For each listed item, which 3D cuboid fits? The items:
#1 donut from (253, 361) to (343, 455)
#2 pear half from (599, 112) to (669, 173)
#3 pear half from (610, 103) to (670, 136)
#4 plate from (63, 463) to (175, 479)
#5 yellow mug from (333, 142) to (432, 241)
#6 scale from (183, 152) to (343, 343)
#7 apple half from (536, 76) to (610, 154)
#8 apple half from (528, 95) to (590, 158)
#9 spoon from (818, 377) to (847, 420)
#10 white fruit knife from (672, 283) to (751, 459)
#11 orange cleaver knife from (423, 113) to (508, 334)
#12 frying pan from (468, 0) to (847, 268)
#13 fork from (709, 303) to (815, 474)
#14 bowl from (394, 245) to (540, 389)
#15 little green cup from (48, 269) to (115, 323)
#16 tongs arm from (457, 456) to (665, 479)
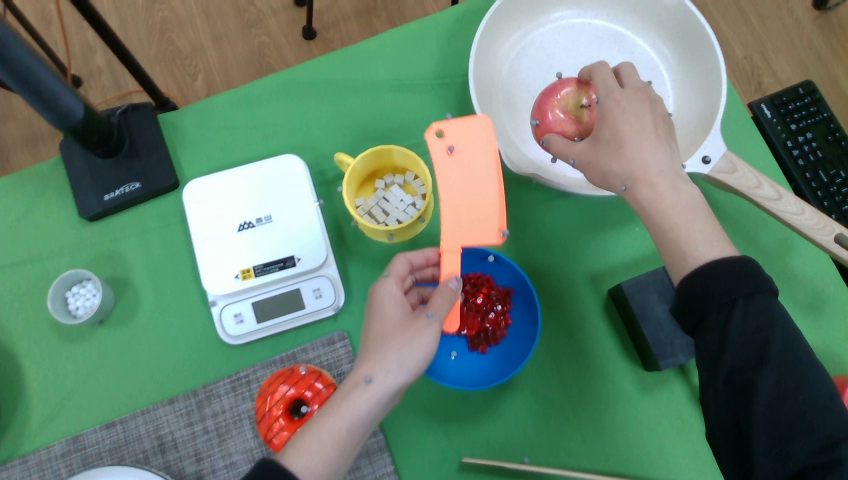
[{"bbox_3d":[-0.136,0.180,0.653,0.099,0.048,0.098,-1,79,3],"label":"donut"},{"bbox_3d":[0.236,-0.109,0.678,0.076,0.110,0.056,14,78,8],"label":"pear half"},{"bbox_3d":[0.248,-0.139,0.695,0.070,0.088,0.031,13,79,7],"label":"pear half"},{"bbox_3d":[-0.318,0.336,0.623,0.209,0.038,0.208,0,78,1],"label":"plate"},{"bbox_3d":[-0.054,-0.063,0.699,0.130,0.064,0.100,35,81,9],"label":"yellow mug"},{"bbox_3d":[-0.187,0.006,0.703,0.149,0.032,0.200,-17,78,-2],"label":"scale"},{"bbox_3d":[0.156,-0.133,0.619,0.053,0.075,0.080,-44,82,-7],"label":"apple half"},{"bbox_3d":[0.129,-0.106,0.615,0.033,0.081,0.081,-44,80,-7],"label":"apple half"},{"bbox_3d":[0.474,0.204,0.592,0.041,0.022,0.191,-26,34,-6],"label":"spoon"},{"bbox_3d":[0.303,0.141,0.641,0.016,0.027,0.207,-23,93,-4],"label":"white fruit knife"},{"bbox_3d":[0.039,-0.020,0.555,0.077,0.012,0.210,1,76,-8],"label":"orange cleaver knife"},{"bbox_3d":[0.272,-0.123,0.688,0.485,0.103,0.306,40,82,17],"label":"frying pan"},{"bbox_3d":[0.363,0.159,0.644,0.028,0.018,0.207,-30,94,-9],"label":"fork"},{"bbox_3d":[0.045,0.085,0.659,0.151,0.077,0.150,0,78,1],"label":"bowl"},{"bbox_3d":[-0.386,0.066,0.689,0.061,0.039,0.061,0,77,1],"label":"little green cup"},{"bbox_3d":[0.227,0.264,0.641,0.387,0.028,0.028,8,69,3],"label":"tongs arm"}]
